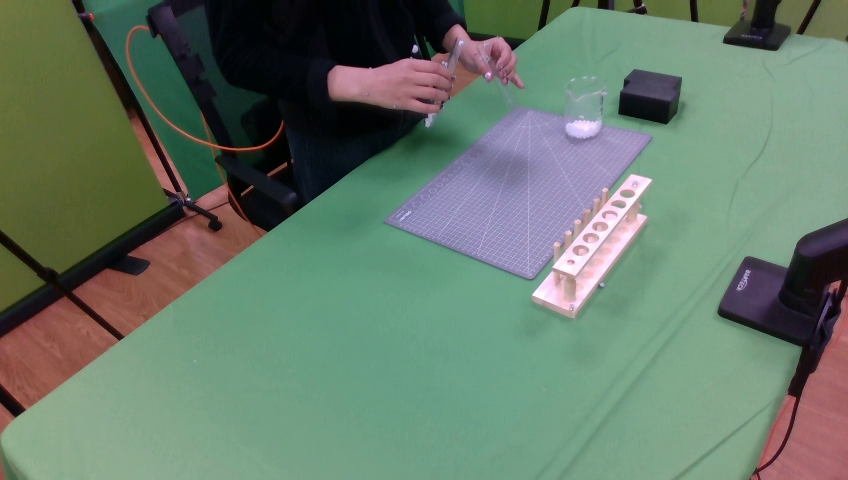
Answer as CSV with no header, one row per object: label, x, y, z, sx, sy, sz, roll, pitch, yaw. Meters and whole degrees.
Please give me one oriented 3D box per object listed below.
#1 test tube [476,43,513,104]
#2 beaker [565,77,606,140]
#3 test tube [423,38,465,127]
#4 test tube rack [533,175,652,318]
test tube,0.128,-0.293,1.077,0.017,0.151,0.017,-15,56,23
beaker,0.304,-0.247,1.153,0.073,0.101,0.084,15,47,27
test tube,0.032,-0.256,0.987,0.017,0.150,0.017,22,12,-4
test tube rack,0.250,-0.001,0.889,0.066,0.085,0.243,22,49,33
